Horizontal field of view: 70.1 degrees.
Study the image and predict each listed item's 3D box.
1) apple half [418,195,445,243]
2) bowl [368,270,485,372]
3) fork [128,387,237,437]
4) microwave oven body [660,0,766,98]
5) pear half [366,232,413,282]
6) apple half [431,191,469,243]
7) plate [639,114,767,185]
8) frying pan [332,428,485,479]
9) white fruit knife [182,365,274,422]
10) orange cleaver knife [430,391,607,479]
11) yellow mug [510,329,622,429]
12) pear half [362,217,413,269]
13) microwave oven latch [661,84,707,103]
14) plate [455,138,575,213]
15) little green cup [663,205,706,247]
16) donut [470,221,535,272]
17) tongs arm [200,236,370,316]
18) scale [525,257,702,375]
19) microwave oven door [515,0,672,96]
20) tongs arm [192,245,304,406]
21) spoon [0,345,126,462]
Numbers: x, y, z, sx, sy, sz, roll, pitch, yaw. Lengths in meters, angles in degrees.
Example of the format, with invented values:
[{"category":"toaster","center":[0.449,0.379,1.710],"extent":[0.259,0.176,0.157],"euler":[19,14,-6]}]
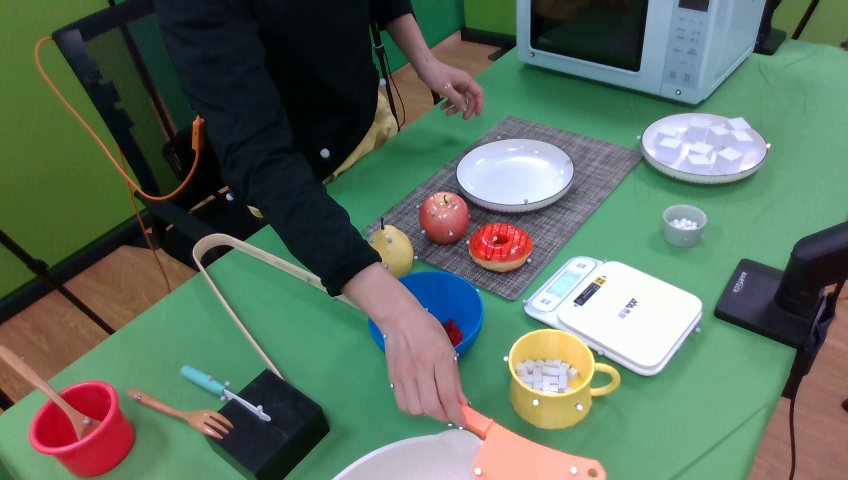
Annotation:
[{"category":"apple half","center":[0.009,-0.028,0.959],"extent":[0.033,0.081,0.080],"euler":[-14,41,-11]},{"category":"bowl","center":[0.007,0.119,0.791],"extent":[0.151,0.077,0.150],"euler":[-5,40,4]},{"category":"fork","center":[-0.305,0.207,0.744],"extent":[0.206,0.019,0.028],"euler":[3,41,35]},{"category":"microwave oven body","center":[0.472,-0.513,1.317],"extent":[0.438,0.261,0.327],"euler":[26,51,34]},{"category":"pear half","center":[-0.048,0.031,0.893],"extent":[0.071,0.088,0.031],"euler":[-16,40,-13]},{"category":"apple half","center":[0.045,-0.038,0.967],"extent":[0.053,0.075,0.080],"euler":[-14,37,-11]},{"category":"plate","center":[0.489,-0.157,1.074],"extent":[0.207,0.039,0.206],"euler":[-4,40,4]},{"category":"frying pan","center":[-0.089,0.306,0.564],"extent":[0.487,0.103,0.306],"euler":[9,41,7]},{"category":"white fruit knife","center":[-0.245,0.188,0.747],"extent":[0.205,0.027,0.016],"euler":[9,41,41]},{"category":"orange cleaver knife","center":[0.085,0.217,0.613],"extent":[0.210,0.012,0.077],"euler":[20,44,27]},{"category":"yellow mug","center":[0.169,0.164,0.721],"extent":[0.130,0.064,0.099],"euler":[0,40,8]},{"category":"pear half","center":[-0.059,0.002,0.913],"extent":[0.076,0.110,0.055],"euler":[-14,40,-13]},{"category":"microwave oven latch","center":[0.516,-0.296,1.204],"extent":[0.078,0.029,0.030],"euler":[24,50,33]},{"category":"plate","center":[0.159,-0.111,1.063],"extent":[0.209,0.038,0.208],"euler":[-4,40,4]},{"category":"little green cup","center":[0.396,-0.020,0.926],"extent":[0.061,0.039,0.061],"euler":[-4,40,4]},{"category":"donut","center":[0.119,0.009,0.923],"extent":[0.099,0.048,0.098],"euler":[-3,39,3]},{"category":"tongs arm","center":[-0.209,0.063,0.924],"extent":[0.381,0.027,0.051],"euler":[23,54,32]},{"category":"scale","center":[0.254,0.091,0.821],"extent":[0.199,0.032,0.149],"euler":[28,51,35]},{"category":"microwave oven door","center":[0.343,-0.455,1.259],"extent":[0.353,0.245,0.039],"euler":[26,51,33]},{"category":"tongs arm","center":[-0.268,0.112,0.884],"extent":[0.028,0.028,0.384],"euler":[-36,47,-18]},{"category":"spoon","center":[-0.434,0.192,0.720],"extent":[0.194,0.021,0.042],"euler":[47,52,-6]}]
